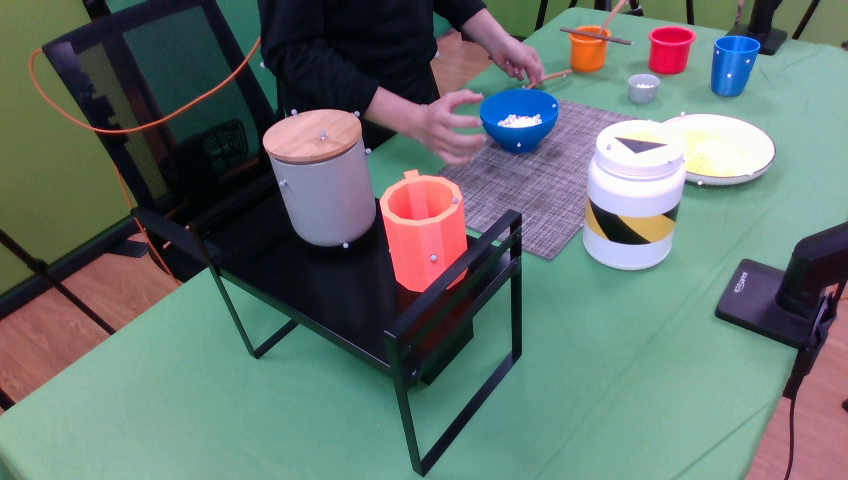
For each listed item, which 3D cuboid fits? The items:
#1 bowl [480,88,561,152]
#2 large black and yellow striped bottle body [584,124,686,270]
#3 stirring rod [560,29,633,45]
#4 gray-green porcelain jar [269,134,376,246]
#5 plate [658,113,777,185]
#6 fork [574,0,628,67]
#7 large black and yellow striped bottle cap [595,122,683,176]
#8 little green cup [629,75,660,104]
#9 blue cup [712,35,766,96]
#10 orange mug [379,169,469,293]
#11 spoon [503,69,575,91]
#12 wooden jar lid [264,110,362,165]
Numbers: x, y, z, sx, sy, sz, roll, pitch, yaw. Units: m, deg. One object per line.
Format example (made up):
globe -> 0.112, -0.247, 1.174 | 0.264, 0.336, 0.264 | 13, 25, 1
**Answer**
bowl -> 0.185, -0.222, 1.160 | 0.151, 0.077, 0.150 | -4, 40, 4
large black and yellow striped bottle body -> 0.304, -0.063, 0.880 | 0.131, 0.185, 0.130 | -5, 41, 5
stirring rod -> 0.381, -0.452, 1.345 | 0.174, 0.006, 0.014 | 25, 49, 33
gray-green porcelain jar -> -0.115, -0.064, 0.715 | 0.106, 0.127, 0.105 | -4, 40, 4
plate -> 0.506, -0.158, 1.073 | 0.209, 0.038, 0.208 | -4, 40, 4
fork -> 0.413, -0.481, 1.377 | 0.207, 0.019, 0.028 | -56, 43, 12
large black and yellow striped bottle cap -> 0.293, -0.126, 0.826 | 0.115, 0.019, 0.114 | -3, 40, 3
little green cup -> 0.457, -0.314, 1.260 | 0.061, 0.039, 0.061 | -4, 40, 4
blue cup -> 0.627, -0.350, 1.227 | 0.092, 0.100, 0.092 | -4, 39, 4
orange mug -> -0.002, -0.019, 0.665 | 0.083, 0.101, 0.125 | -12, 45, -4
spoon -> 0.252, -0.345, 1.314 | 0.194, 0.022, 0.041 | -25, 14, -19
wooden jar lid -> -0.122, -0.112, 0.673 | 0.108, 0.021, 0.108 | -4, 37, 4
